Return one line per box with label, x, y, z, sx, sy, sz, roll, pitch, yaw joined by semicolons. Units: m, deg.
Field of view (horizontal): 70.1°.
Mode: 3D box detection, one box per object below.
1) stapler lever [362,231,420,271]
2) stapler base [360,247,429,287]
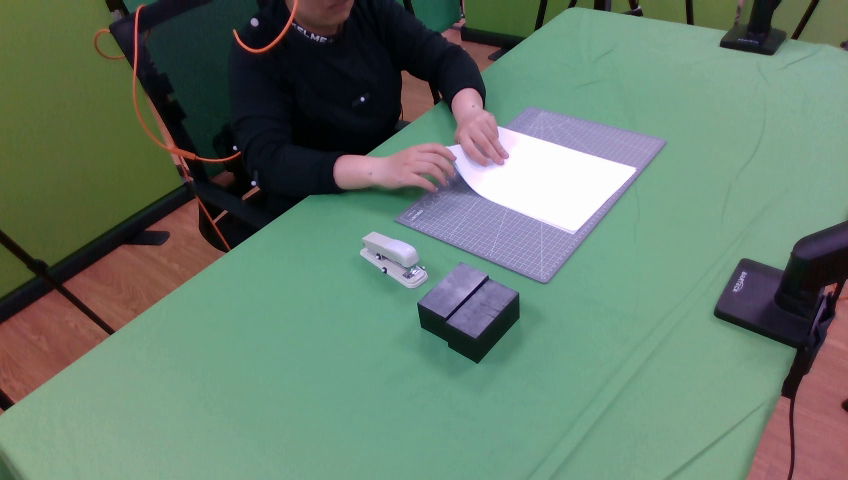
stapler lever;-0.052;0.011;0.933;0.027;0.040;0.117;-34;45;-31
stapler base;-0.048;0.031;0.949;0.041;0.024;0.129;-34;45;-31
